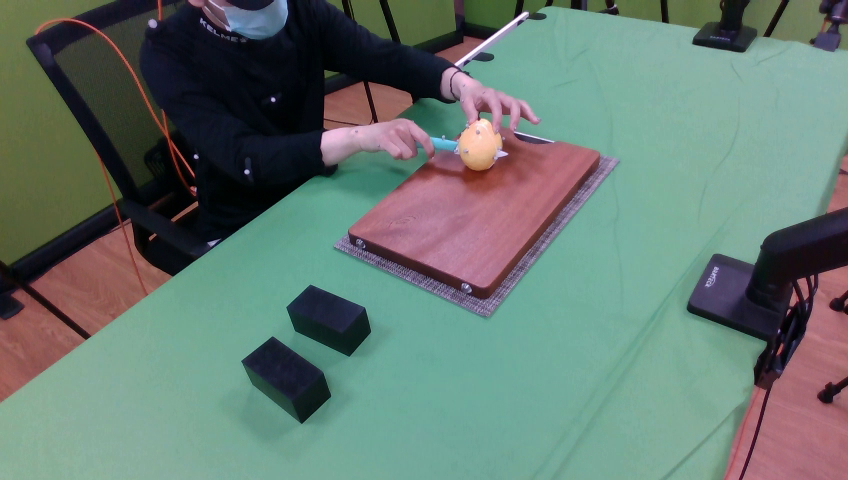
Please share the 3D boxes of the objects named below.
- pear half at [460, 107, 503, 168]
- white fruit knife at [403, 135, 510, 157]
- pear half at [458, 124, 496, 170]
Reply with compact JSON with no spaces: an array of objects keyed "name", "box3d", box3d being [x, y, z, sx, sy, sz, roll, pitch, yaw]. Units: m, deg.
[{"name":"pear half","box3d":[0.103,-0.186,1.057,0.076,0.110,0.056,13,41,15]},{"name":"white fruit knife","box3d":[0.054,-0.166,1.069,0.206,0.027,0.016,11,42,23]},{"name":"pear half","box3d":[0.088,-0.155,1.039,0.070,0.088,0.031,14,46,13]}]
